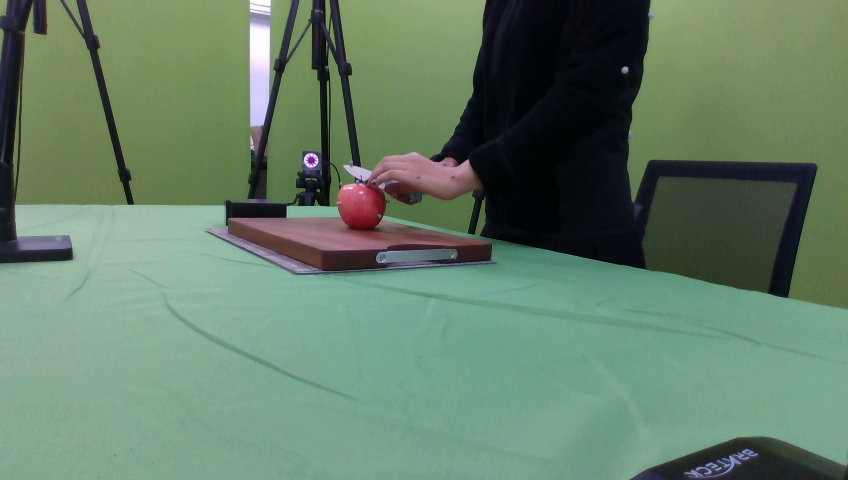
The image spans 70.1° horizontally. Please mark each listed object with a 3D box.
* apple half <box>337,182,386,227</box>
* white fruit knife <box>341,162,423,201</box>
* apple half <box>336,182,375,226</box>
[{"bbox_3d":[-0.095,-0.056,0.986,0.081,0.074,0.053,1,10,-44],"label":"apple half"},{"bbox_3d":[-0.067,-0.102,1.041,0.016,0.027,0.208,0,-10,38],"label":"white fruit knife"},{"bbox_3d":[-0.120,-0.062,1.014,0.082,0.081,0.032,-5,14,-43],"label":"apple half"}]
